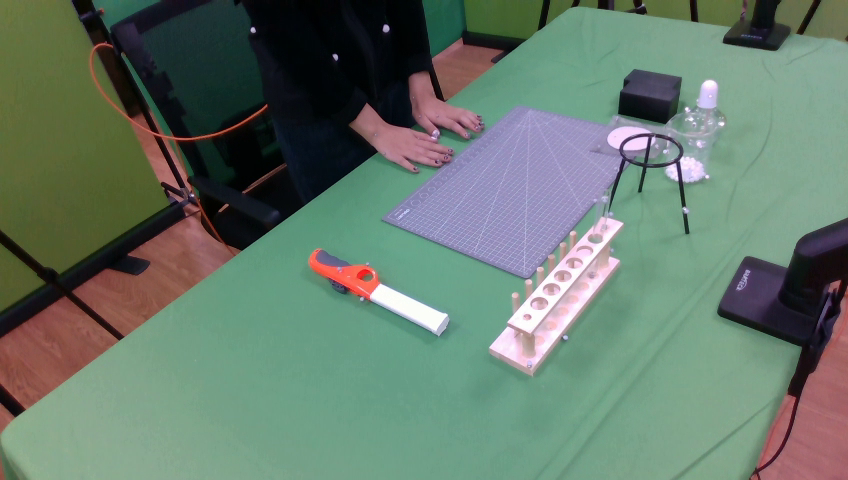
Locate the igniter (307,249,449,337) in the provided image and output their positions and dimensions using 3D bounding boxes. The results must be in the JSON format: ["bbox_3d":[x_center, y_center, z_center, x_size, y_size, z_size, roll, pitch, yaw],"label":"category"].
[{"bbox_3d":[-0.079,0.073,0.905,0.274,0.025,0.057,23,61,32],"label":"igniter"}]

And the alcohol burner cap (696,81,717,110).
[{"bbox_3d":[0.498,-0.256,1.062,0.034,0.048,0.033,-6,33,4],"label":"alcohol burner cap"}]

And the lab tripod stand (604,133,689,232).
[{"bbox_3d":[0.347,-0.086,0.932,0.148,0.132,0.147,-4,40,4],"label":"lab tripod stand"}]

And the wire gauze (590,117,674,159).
[{"bbox_3d":[0.393,-0.192,1.139,0.120,0.011,0.125,19,47,28],"label":"wire gauze"}]

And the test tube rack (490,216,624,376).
[{"bbox_3d":[0.184,0.064,0.822,0.066,0.085,0.243,24,50,33],"label":"test tube rack"}]

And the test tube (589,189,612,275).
[{"bbox_3d":[0.238,-0.007,0.818,0.017,0.151,0.017,-3,43,4],"label":"test tube"}]

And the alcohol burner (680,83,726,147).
[{"bbox_3d":[0.503,-0.228,1.085,0.078,0.119,0.077,-4,42,4],"label":"alcohol burner"}]

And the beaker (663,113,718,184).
[{"bbox_3d":[0.442,-0.151,1.018,0.084,0.101,0.074,-1,40,11],"label":"beaker"}]
